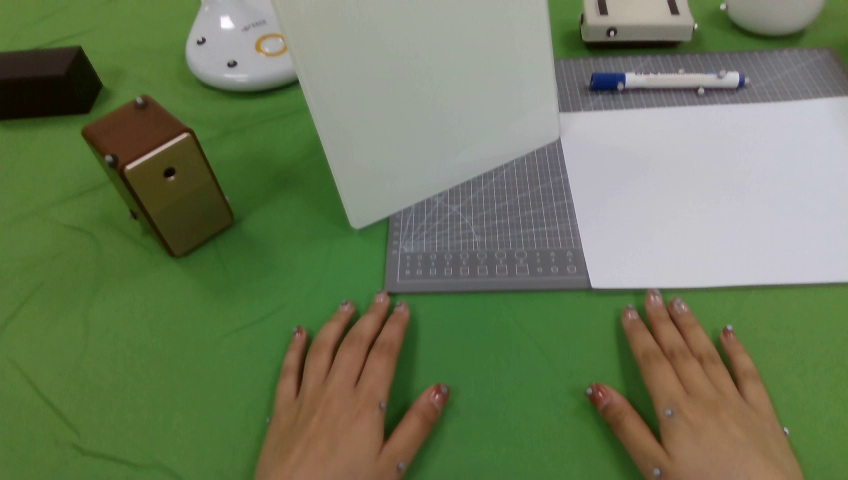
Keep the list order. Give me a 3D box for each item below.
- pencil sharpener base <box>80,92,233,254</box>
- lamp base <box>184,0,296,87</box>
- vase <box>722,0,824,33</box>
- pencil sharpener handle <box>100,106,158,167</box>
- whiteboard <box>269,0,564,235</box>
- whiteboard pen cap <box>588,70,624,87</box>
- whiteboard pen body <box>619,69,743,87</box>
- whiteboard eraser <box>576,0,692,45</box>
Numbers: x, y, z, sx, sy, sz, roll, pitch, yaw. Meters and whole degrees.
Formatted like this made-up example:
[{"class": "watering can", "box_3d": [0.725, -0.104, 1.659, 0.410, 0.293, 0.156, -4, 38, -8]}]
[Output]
[{"class": "pencil sharpener base", "box_3d": [-0.214, -0.053, 0.491, 0.061, 0.108, 0.076, -40, 58, -24]}, {"class": "lamp base", "box_3d": [-0.200, -0.277, 0.622, 0.177, 0.182, 0.160, 33, 60, 29]}, {"class": "vase", "box_3d": [0.370, -0.309, 0.594, 0.098, 0.202, 0.097, -1, 51, 2]}, {"class": "pencil sharpener handle", "box_3d": [-0.249, -0.089, 0.506, 0.030, 0.068, 0.036, 36, 70, 29]}, {"class": "whiteboard", "box_3d": [-0.027, -0.200, 0.504, 0.217, 0.308, 0.142, -25, 34, -14]}, {"class": "whiteboard pen cap", "box_3d": [0.181, -0.160, 0.601, 0.033, 0.018, 0.018, 3, 51, 3]}, {"class": "whiteboard pen body", "box_3d": [0.240, -0.159, 0.597, 0.140, 0.017, 0.017, 1, 51, 5]}, {"class": "whiteboard eraser", "box_3d": [0.222, -0.235, 0.647, 0.112, 0.042, 0.055, 0, 49, 5]}]
